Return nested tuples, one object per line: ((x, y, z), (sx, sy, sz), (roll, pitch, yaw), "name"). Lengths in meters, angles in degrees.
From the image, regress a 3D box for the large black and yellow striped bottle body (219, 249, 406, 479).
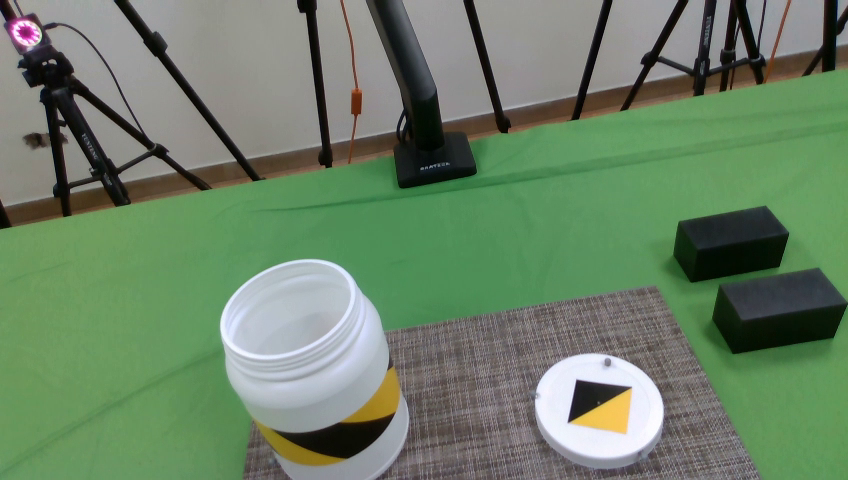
((-0.094, 0.110, 0.533), (0.130, 0.186, 0.129), (-6, 41, 6), "large black and yellow striped bottle body")

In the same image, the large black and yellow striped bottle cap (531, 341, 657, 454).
((0.158, 0.144, 0.567), (0.115, 0.019, 0.114), (-6, 42, 6), "large black and yellow striped bottle cap")
